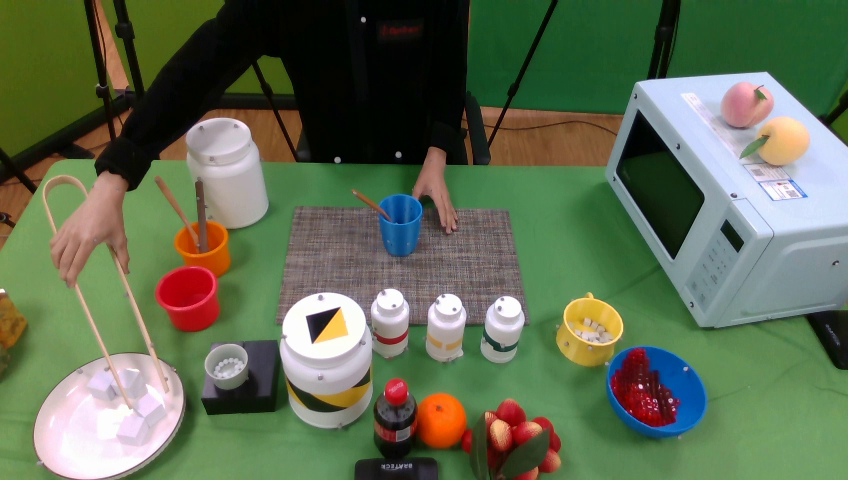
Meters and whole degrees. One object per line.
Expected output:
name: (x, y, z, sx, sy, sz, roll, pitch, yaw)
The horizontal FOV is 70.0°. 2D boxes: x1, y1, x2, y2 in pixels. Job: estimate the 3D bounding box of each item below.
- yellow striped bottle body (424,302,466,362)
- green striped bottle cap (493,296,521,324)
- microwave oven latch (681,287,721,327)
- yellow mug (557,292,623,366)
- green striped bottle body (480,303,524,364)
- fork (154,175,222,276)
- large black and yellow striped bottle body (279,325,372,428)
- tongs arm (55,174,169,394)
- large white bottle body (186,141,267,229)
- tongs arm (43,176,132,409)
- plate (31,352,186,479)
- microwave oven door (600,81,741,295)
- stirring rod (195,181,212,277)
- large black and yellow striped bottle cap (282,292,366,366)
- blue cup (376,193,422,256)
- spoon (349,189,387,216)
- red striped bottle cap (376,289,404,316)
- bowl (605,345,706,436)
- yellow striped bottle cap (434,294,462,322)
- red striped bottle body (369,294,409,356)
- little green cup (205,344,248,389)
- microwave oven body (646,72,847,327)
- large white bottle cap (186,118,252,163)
yellow striped bottle body: (0.035, 0.143, 0.995, 0.063, 0.121, 0.062, 3, 46, -3)
green striped bottle cap: (0.133, 0.111, 0.963, 0.044, 0.020, 0.044, 2, 47, -2)
microwave oven latch: (0.494, 0.119, 1.087, 0.030, 0.029, 0.078, -5, 46, -9)
yellow mug: (0.285, 0.145, 1.051, 0.100, 0.064, 0.130, 7, 46, 4)
green striped bottle body: (0.129, 0.147, 1.000, 0.063, 0.120, 0.063, 2, 46, -2)
fork: (-0.430, -0.027, 1.100, 0.028, 0.018, 0.207, -32, 100, -21)
large black and yellow striped bottle body: (-0.143, 0.181, 0.900, 0.131, 0.185, 0.130, 2, 46, -2)
tongs arm: (-0.485, 0.066, 0.938, 0.051, 0.026, 0.383, -19, 77, -28)
large white bottle body: (-0.382, -0.127, 1.176, 0.131, 0.185, 0.130, 2, 46, -2)
tongs arm: (-0.512, 0.076, 0.921, 0.028, 0.028, 0.386, -22, 78, -25)
plate: (-0.459, 0.262, 0.898, 0.209, 0.038, 0.208, 2, 46, -2)
microwave oven door: (0.454, -0.107, 1.161, 0.039, 0.245, 0.353, -6, 47, -11)
stirring rod: (-0.402, -0.020, 1.104, 0.014, 0.006, 0.176, -6, 89, -9)
large black and yellow striped bottle cap: (-0.138, 0.121, 0.841, 0.115, 0.019, 0.114, 3, 47, -3)
blue cup: (-0.048, -0.023, 1.157, 0.093, 0.101, 0.092, 1, 47, -1)
spoon: (-0.077, -0.045, 1.120, 0.021, 0.195, 0.041, -36, 47, 7)
red striped bottle cap: (-0.054, 0.098, 0.958, 0.044, 0.018, 0.044, 0, 48, 1)
bowl: (0.351, 0.248, 0.950, 0.151, 0.077, 0.150, 2, 46, -2)
yellow striped bottle cap: (0.038, 0.107, 0.958, 0.044, 0.019, 0.044, 2, 45, -2)
red striped bottle body: (-0.059, 0.134, 0.997, 0.063, 0.120, 0.062, 5, 48, -5)
little green cup: (-0.293, 0.191, 0.909, 0.061, 0.039, 0.061, 1, 47, -1)
microwave oven body: (0.607, -0.089, 1.164, 0.326, 0.261, 0.438, -7, 46, -10)
large white bottle cap: (-0.376, -0.185, 1.114, 0.115, 0.018, 0.114, 3, 47, -3)
